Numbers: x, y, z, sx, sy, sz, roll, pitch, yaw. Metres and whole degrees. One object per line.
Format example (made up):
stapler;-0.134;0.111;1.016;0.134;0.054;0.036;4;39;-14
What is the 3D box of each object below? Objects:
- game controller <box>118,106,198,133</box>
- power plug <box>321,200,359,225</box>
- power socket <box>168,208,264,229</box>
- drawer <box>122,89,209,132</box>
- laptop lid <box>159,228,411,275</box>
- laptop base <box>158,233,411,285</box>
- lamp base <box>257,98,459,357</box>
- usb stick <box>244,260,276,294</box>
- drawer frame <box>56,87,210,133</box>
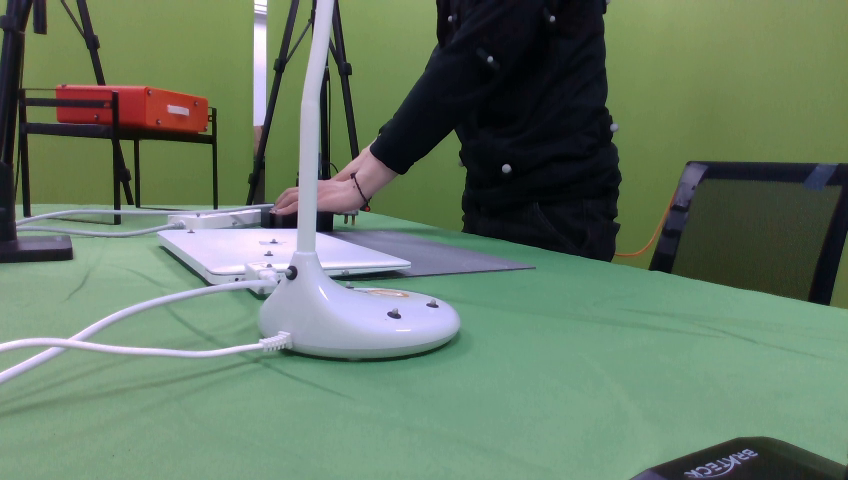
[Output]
game controller;-0.555;-0.252;1.255;0.097;0.051;0.155;8;12;18
power plug;-0.166;-0.053;1.213;0.072;0.052;0.035;-7;-5;4
power socket;-0.381;-0.038;1.128;0.072;0.032;0.227;4;8;16
drawer;-0.595;-0.268;1.263;0.211;0.073;0.195;4;8;15
laptop lid;-0.201;0.007;0.806;0.243;0.013;0.355;-1;8;-31
laptop base;-0.204;0.019;0.807;0.237;0.023;0.352;0;7;-33
lamp base;-0.055;-0.014;0.463;0.160;0.180;0.180;6;11;27
usb stick;-0.166;0.035;0.604;0.021;0.027;0.059;-8;8;-28
drawer frame;-0.598;-0.269;1.261;0.213;0.082;0.202;4;8;14
